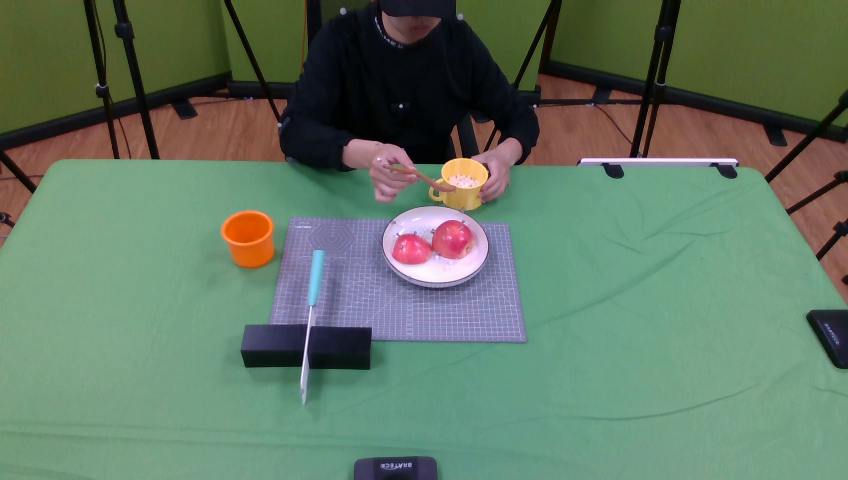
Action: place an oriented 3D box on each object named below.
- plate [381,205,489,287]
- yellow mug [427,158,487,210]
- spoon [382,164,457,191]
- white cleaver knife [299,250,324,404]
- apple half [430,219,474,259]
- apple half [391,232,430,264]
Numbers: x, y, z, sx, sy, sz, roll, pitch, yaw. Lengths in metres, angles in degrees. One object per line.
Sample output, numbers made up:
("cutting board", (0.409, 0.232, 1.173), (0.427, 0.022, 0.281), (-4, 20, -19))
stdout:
("plate", (0.021, 0.015, 1.170), (0.209, 0.038, 0.208), (2, 46, -2))
("yellow mug", (0.067, -0.115, 1.284), (0.131, 0.064, 0.099), (-17, 48, -17))
("spoon", (-0.008, -0.117, 1.120), (0.041, 0.021, 0.195), (17, 0, 43))
("white cleaver knife", (-0.194, 0.134, 1.019), (0.021, 0.066, 0.284), (5, 50, -5))
("apple half", (0.056, -0.008, 1.172), (0.081, 0.053, 0.074), (-33, 59, -31))
("apple half", (-0.024, 0.009, 1.163), (0.081, 0.033, 0.081), (2, 43, -2))
